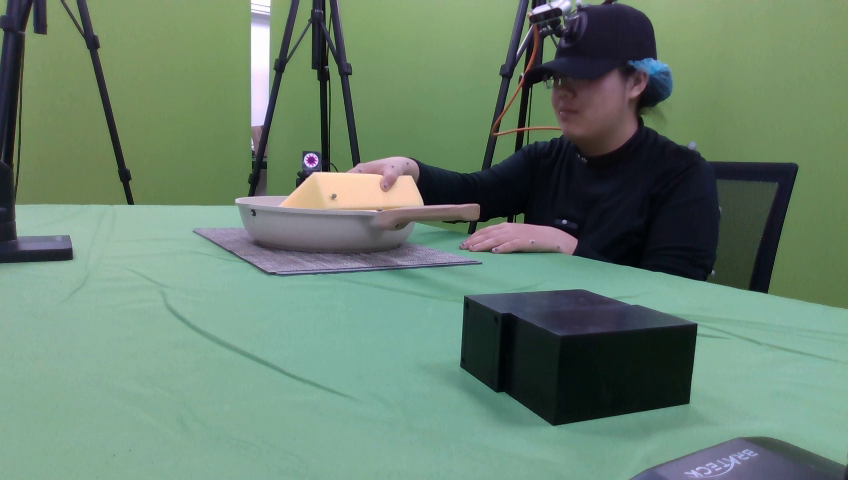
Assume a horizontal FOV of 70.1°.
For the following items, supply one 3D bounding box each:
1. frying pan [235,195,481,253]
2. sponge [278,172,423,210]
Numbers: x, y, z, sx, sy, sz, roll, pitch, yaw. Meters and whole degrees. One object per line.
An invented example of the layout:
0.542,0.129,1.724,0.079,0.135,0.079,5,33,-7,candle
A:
-0.090,-0.034,0.891,0.308,0.102,0.485,-4,2,-36,frying pan
-0.115,-0.050,0.951,0.118,0.060,0.208,-34,-18,37,sponge
